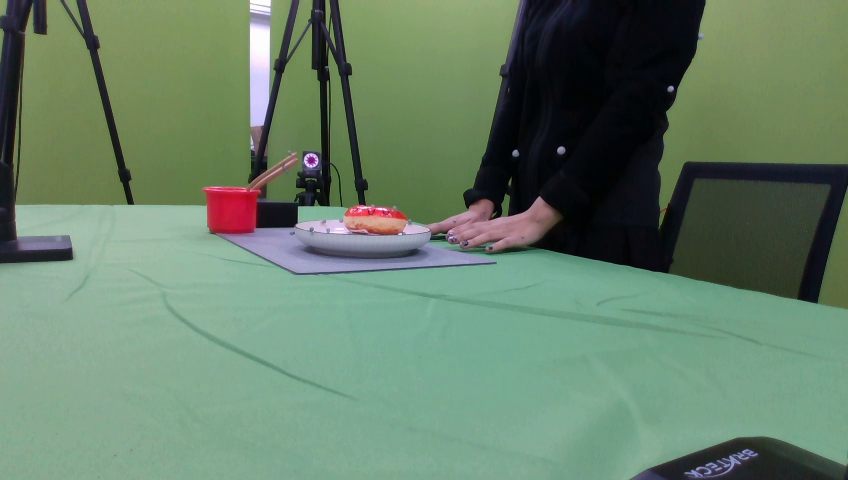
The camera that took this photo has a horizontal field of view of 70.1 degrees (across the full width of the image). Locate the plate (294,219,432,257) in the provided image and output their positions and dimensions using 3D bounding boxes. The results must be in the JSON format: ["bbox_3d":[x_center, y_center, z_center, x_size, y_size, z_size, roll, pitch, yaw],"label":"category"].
[{"bbox_3d":[-0.092,-0.004,0.924,0.209,0.038,0.209,2,7,0],"label":"plate"}]

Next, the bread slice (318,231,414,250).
[{"bbox_3d":[-0.093,0.000,0.915,0.132,0.019,0.104,0,6,-26],"label":"bread slice"}]

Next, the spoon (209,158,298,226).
[{"bbox_3d":[-0.303,-0.087,1.082,0.194,0.022,0.041,-44,24,-8],"label":"spoon"}]

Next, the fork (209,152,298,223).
[{"bbox_3d":[-0.296,-0.088,1.044,0.207,0.018,0.028,-38,10,16],"label":"fork"}]

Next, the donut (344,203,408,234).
[{"bbox_3d":[-0.073,-0.031,0.931,0.099,0.048,0.099,4,3,0],"label":"donut"}]
